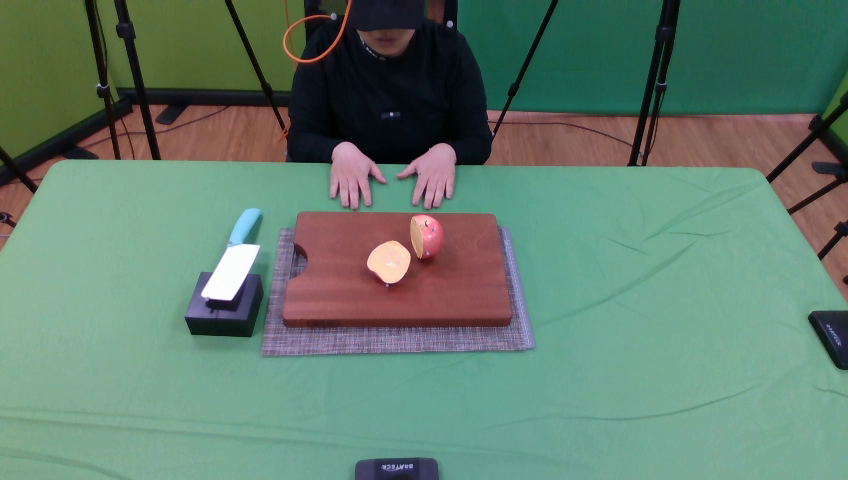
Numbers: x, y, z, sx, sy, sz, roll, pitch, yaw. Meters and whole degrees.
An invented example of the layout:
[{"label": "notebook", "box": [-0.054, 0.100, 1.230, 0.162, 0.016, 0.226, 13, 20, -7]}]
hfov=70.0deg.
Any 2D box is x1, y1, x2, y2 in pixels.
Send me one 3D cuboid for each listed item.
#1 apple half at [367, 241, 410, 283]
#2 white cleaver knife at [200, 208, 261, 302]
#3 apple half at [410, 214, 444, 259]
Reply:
[{"label": "apple half", "box": [-0.059, 0.043, 1.100, 0.081, 0.033, 0.081, -3, 67, 8]}, {"label": "white cleaver knife", "box": [-0.338, 0.024, 1.116, 0.066, 0.021, 0.285, 7, 35, -3]}, {"label": "apple half", "box": [0.009, -0.007, 1.131, 0.053, 0.075, 0.080, -8, 43, -17]}]
